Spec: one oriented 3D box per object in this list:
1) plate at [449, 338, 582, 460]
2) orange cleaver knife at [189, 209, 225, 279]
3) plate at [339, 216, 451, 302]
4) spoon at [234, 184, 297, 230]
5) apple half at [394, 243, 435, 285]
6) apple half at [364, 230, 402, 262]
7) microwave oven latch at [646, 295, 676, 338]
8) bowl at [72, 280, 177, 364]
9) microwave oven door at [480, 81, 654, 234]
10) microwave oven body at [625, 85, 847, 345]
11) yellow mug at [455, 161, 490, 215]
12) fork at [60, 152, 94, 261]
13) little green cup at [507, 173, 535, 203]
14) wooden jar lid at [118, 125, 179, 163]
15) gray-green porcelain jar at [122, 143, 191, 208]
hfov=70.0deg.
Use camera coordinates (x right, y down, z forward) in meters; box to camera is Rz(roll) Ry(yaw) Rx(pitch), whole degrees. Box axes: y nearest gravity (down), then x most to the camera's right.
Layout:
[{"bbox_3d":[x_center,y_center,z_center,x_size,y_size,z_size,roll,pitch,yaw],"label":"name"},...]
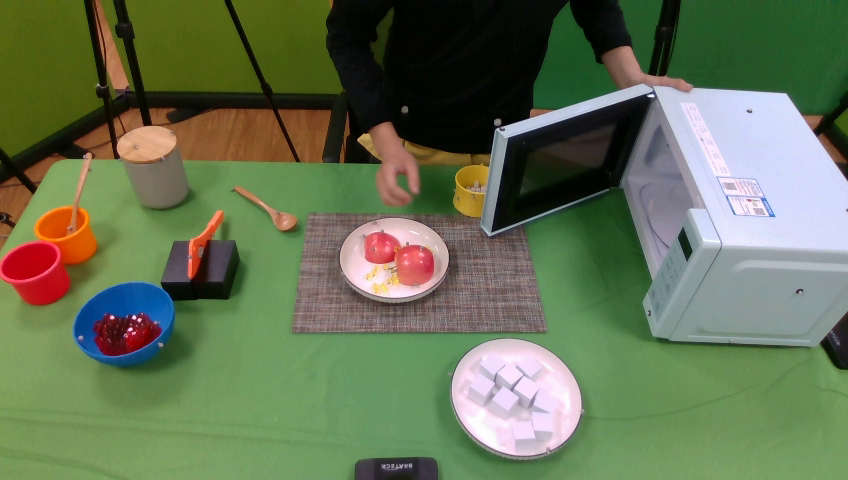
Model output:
[{"bbox_3d":[0.141,0.251,0.955,0.208,0.039,0.206,2,47,-2],"label":"plate"},{"bbox_3d":[-0.400,0.002,1.122,0.012,0.077,0.210,4,23,-4],"label":"orange cleaver knife"},{"bbox_3d":[-0.054,0.038,1.137,0.209,0.038,0.208,2,46,-2],"label":"plate"},{"bbox_3d":[-0.327,-0.073,1.239,0.193,0.022,0.041,34,70,25],"label":"spoon"},{"bbox_3d":[-0.016,0.036,1.120,0.075,0.053,0.080,1,46,-6],"label":"apple half"},{"bbox_3d":[-0.079,0.004,1.159,0.081,0.033,0.081,3,50,-3],"label":"apple half"},{"bbox_3d":[0.412,0.133,1.060,0.030,0.029,0.078,3,46,0],"label":"microwave oven latch"},{"bbox_3d":[-0.473,0.147,0.982,0.151,0.077,0.150,2,46,-2],"label":"bowl"},{"bbox_3d":[0.281,-0.163,1.192,0.356,0.245,0.039,-21,51,-22],"label":"microwave oven door"},{"bbox_3d":[0.568,-0.054,1.116,0.326,0.261,0.439,2,46,-1],"label":"microwave oven body"},{"bbox_3d":[0.118,-0.118,1.284,0.100,0.064,0.130,8,43,6],"label":"yellow mug"},{"bbox_3d":[-0.638,-0.063,1.119,0.028,0.018,0.207,12,90,6],"label":"fork"},{"bbox_3d":[0.206,-0.111,1.302,0.061,0.039,0.061,2,48,-2],"label":"little green cup"},{"bbox_3d":[-0.528,-0.181,1.167,0.108,0.021,0.107,3,48,-4],"label":"wooden jar lid"},{"bbox_3d":[-0.531,-0.137,1.214,0.106,0.127,0.105,2,47,-2],"label":"gray-green porcelain jar"}]
